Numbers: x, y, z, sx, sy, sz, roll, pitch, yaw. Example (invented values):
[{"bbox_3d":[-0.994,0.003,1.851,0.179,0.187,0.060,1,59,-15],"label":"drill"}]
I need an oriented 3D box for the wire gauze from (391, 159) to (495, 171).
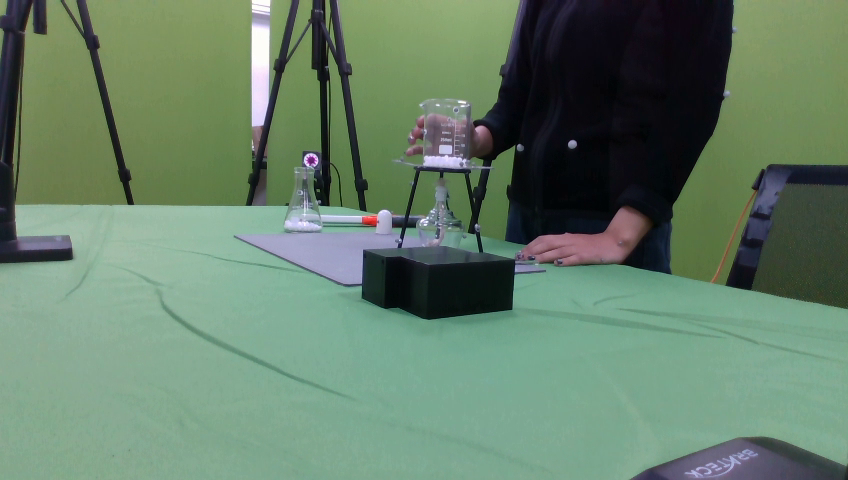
[{"bbox_3d":[0.032,-0.114,0.923,0.124,0.011,0.122,5,5,32],"label":"wire gauze"}]

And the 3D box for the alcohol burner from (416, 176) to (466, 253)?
[{"bbox_3d":[0.027,-0.039,0.934,0.078,0.119,0.078,2,9,0],"label":"alcohol burner"}]

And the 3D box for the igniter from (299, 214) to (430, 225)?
[{"bbox_3d":[-0.123,-0.044,1.281,0.278,0.025,0.057,0,-2,-19],"label":"igniter"}]

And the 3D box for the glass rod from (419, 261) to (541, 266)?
[{"bbox_3d":[0.080,0.032,0.808,0.201,0.008,0.008,1,6,-32],"label":"glass rod"}]

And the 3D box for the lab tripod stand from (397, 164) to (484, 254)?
[{"bbox_3d":[0.029,-0.049,0.930,0.148,0.131,0.148,4,6,0],"label":"lab tripod stand"}]

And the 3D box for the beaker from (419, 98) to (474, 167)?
[{"bbox_3d":[0.032,-0.161,0.913,0.084,0.100,0.074,1,7,-10],"label":"beaker"}]

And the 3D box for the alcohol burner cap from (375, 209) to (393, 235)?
[{"bbox_3d":[-0.075,-0.035,1.150,0.034,0.048,0.034,3,7,0],"label":"alcohol burner cap"}]

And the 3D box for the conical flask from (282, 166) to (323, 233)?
[{"bbox_3d":[-0.225,-0.076,1.129,0.075,0.122,0.075,2,8,0],"label":"conical flask"}]
